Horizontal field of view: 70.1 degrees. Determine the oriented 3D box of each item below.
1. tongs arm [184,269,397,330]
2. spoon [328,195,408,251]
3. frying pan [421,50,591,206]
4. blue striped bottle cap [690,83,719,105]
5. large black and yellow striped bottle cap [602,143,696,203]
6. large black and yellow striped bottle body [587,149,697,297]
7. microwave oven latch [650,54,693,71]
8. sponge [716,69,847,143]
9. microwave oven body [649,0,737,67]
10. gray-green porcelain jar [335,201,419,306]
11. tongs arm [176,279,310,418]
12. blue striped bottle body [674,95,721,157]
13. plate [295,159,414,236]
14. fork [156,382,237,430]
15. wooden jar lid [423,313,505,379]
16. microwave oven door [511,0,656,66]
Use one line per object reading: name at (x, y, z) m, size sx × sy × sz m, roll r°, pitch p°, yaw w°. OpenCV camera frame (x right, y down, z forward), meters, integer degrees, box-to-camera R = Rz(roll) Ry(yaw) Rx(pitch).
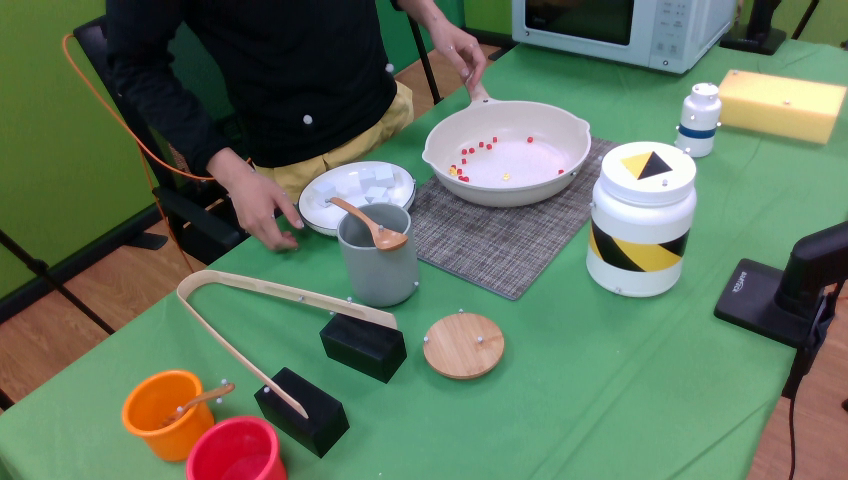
tongs arm at (-0.203, 0.085, 0.847) m, size 0.382 × 0.027 × 0.051 m, roll 11°, pitch 45°, yaw 35°
spoon at (-0.083, -0.029, 0.829) m, size 0.042 × 0.022 × 0.192 m, roll -32°, pitch 43°, yaw -21°
frying pan at (0.127, -0.233, 1.155) m, size 0.307 × 0.103 × 0.484 m, roll -11°, pitch 49°, yaw -5°
blue striped bottle cap at (0.481, -0.251, 1.038) m, size 0.044 × 0.021 × 0.044 m, roll -5°, pitch 39°, yaw 4°
large black and yellow striped bottle cap at (0.289, -0.088, 0.779) m, size 0.115 × 0.019 × 0.114 m, roll -5°, pitch 39°, yaw 4°
large black and yellow striped bottle body at (0.298, -0.026, 0.835) m, size 0.131 × 0.185 × 0.130 m, roll -4°, pitch 41°, yaw 4°
microwave oven latch at (0.531, -0.386, 1.301) m, size 0.078 × 0.029 × 0.030 m, roll 26°, pitch 51°, yaw 33°
sponge at (0.663, -0.256, 1.142) m, size 0.205 × 0.061 × 0.118 m, roll 19°, pitch 47°, yaw 28°
microwave oven body at (0.475, -0.602, 1.411) m, size 0.438 × 0.261 × 0.327 m, roll 23°, pitch 50°, yaw 32°
gray-green porcelain jar at (-0.064, 0.024, 0.872) m, size 0.106 × 0.127 × 0.105 m, roll -4°, pitch 41°, yaw 4°
tongs arm at (-0.254, 0.132, 0.801) m, size 0.028 × 0.028 × 0.384 m, roll -41°, pitch 41°, yaw -23°
blue striped bottle body at (0.486, -0.213, 1.071) m, size 0.063 × 0.121 × 0.063 m, roll -4°, pitch 41°, yaw 4°
plate at (-0.118, -0.070, 1.055) m, size 0.207 × 0.039 × 0.206 m, roll -5°, pitch 39°, yaw 5°
fork at (-0.262, 0.189, 0.690) m, size 0.018 × 0.206 × 0.028 m, roll 49°, pitch 43°, yaw -7°
wooden jar lid at (0.053, 0.142, 0.800) m, size 0.108 × 0.021 × 0.108 m, roll -4°, pitch 39°, yaw 4°
microwave oven door at (0.351, -0.540, 1.349) m, size 0.353 × 0.245 × 0.039 m, roll 24°, pitch 50°, yaw 31°
